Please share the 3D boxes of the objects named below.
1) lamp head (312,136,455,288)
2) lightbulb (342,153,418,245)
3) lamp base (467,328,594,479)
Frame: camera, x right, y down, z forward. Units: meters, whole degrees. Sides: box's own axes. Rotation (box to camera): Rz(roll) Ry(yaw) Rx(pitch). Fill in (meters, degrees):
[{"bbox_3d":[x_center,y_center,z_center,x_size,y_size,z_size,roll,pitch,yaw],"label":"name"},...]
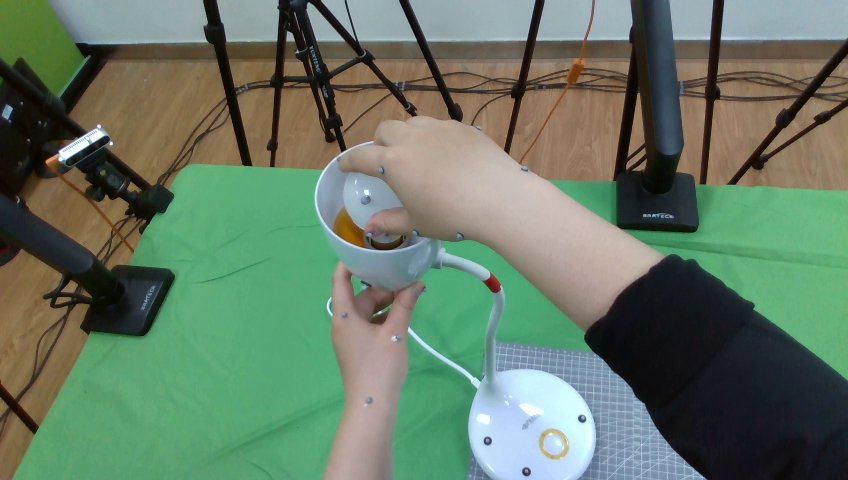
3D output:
[{"bbox_3d":[-0.028,-0.010,0.523,0.112,0.124,0.111,-3,57,5],"label":"lamp head"},{"bbox_3d":[-0.034,-0.026,0.495,0.059,0.108,0.059,0,60,1],"label":"lightbulb"},{"bbox_3d":[0.115,0.183,0.720,0.177,0.182,0.160,27,62,29],"label":"lamp base"}]
